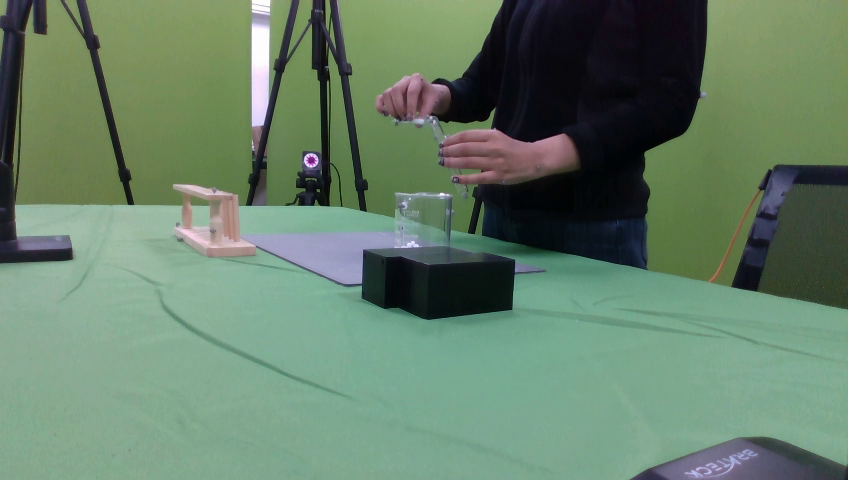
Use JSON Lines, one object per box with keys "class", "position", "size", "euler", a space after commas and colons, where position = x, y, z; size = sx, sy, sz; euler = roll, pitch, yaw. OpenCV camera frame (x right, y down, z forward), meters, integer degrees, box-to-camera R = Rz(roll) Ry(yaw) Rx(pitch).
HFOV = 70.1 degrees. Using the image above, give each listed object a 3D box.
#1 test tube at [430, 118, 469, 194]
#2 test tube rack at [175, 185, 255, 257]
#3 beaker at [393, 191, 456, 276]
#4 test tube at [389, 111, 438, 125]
{"class": "test tube", "position": [0.038, -0.126, 0.898], "size": [0.017, 0.149, 0.017], "euler": [-14, -34, -9]}
{"class": "test tube rack", "position": [-0.324, -0.035, 0.922], "size": [0.067, 0.085, 0.241], "euler": [-2, 9, -31]}
{"class": "beaker", "position": [-0.003, -0.010, 0.749], "size": [0.074, 0.100, 0.083], "euler": [-3, 8, -40]}
{"class": "test tube", "position": [-0.020, -0.202, 0.998], "size": [0.017, 0.017, 0.149], "euler": [-2, 14, -30]}
